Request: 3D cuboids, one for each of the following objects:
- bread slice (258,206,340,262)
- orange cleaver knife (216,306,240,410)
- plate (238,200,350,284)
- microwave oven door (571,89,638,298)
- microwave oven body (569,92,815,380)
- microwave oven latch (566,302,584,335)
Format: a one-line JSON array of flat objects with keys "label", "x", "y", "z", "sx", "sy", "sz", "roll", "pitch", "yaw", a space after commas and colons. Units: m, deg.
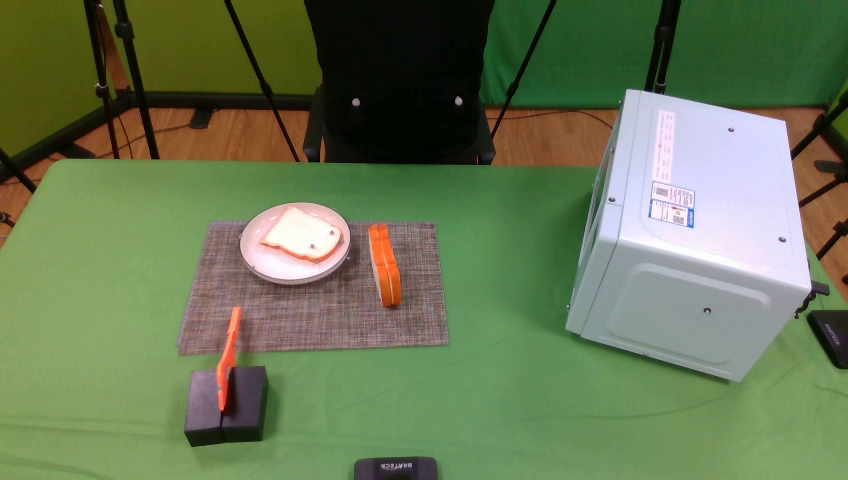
[{"label": "bread slice", "x": -0.232, "y": -0.009, "z": 1.168, "sx": 0.134, "sy": 0.018, "sz": 0.106, "roll": 19, "pitch": 51, "yaw": 10}, {"label": "orange cleaver knife", "x": -0.307, "y": 0.180, "z": 0.957, "sx": 0.012, "sy": 0.077, "sz": 0.210, "roll": -2, "pitch": 25, "yaw": -8}, {"label": "plate", "x": -0.245, "y": 0.007, "z": 1.156, "sx": 0.208, "sy": 0.039, "sz": 0.206, "roll": 2, "pitch": 46, "yaw": -2}, {"label": "microwave oven door", "x": 0.343, "y": -0.091, "z": 1.132, "sx": 0.039, "sy": 0.245, "sz": 0.354, "roll": 15, "pitch": 47, "yaw": 10}, {"label": "microwave oven body", "x": 0.468, "y": -0.022, "z": 1.082, "sx": 0.325, "sy": 0.261, "sz": 0.440, "roll": 15, "pitch": 46, "yaw": 11}, {"label": "microwave oven latch", "x": 0.268, "y": 0.126, "z": 1.059, "sx": 0.030, "sy": 0.029, "sz": 0.079, "roll": 16, "pitch": 46, "yaw": 12}]
